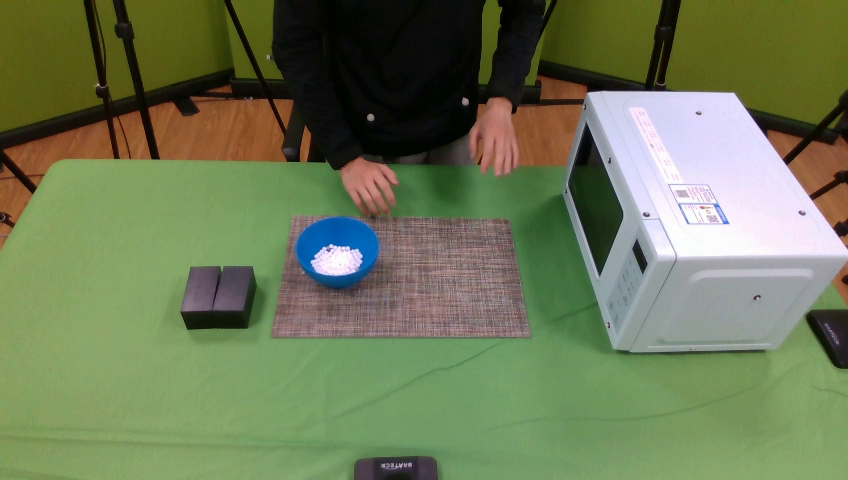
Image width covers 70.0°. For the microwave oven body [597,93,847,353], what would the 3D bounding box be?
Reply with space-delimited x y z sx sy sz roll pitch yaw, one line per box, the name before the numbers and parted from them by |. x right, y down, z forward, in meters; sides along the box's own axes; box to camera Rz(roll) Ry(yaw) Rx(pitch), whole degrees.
microwave oven body | 0.475 -0.041 1.109 0.326 0.261 0.438 -1 45 -4

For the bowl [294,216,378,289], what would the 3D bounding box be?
bowl | -0.158 0.036 1.110 0.151 0.077 0.150 3 45 -2

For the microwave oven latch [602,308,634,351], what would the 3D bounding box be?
microwave oven latch | 0.332 0.153 1.044 0.030 0.029 0.078 -1 45 -4

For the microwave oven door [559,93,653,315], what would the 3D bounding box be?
microwave oven door | 0.327 -0.074 1.123 0.039 0.245 0.353 -1 46 -5
